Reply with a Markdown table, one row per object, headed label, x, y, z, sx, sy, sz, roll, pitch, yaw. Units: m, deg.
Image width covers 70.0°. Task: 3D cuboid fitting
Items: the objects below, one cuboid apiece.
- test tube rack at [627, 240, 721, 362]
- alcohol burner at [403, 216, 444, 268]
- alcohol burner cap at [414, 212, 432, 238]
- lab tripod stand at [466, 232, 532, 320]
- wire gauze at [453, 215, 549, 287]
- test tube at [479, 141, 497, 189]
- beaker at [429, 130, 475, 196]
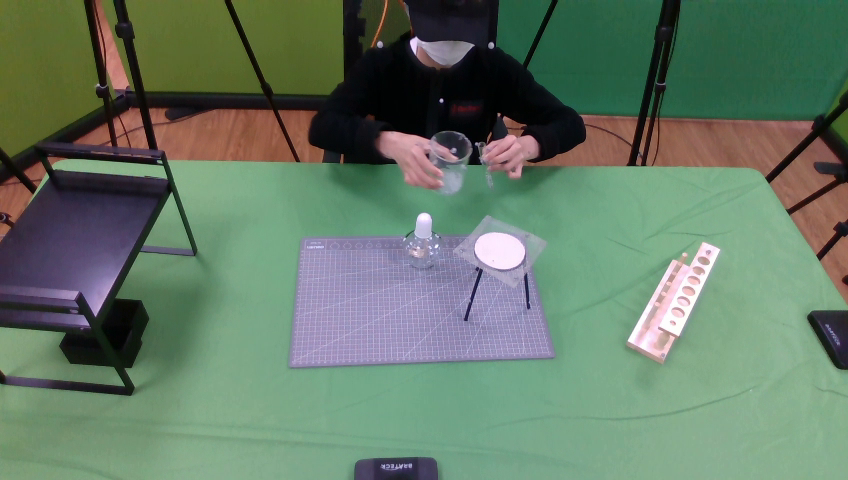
| label | x | y | z | sx | sy | sz | roll | pitch | yaw |
| --- | --- | --- | --- | --- | --- | --- | --- | --- | --- |
| test tube rack | 0.452 | 0.098 | 1.087 | 0.066 | 0.085 | 0.242 | 28 | 51 | 22 |
| alcohol burner | -0.001 | -0.004 | 1.132 | 0.078 | 0.120 | 0.077 | 1 | 47 | 0 |
| alcohol burner cap | 0.000 | -0.030 | 1.107 | 0.034 | 0.048 | 0.033 | 4 | 41 | -3 |
| lab tripod stand | 0.125 | 0.059 | 1.065 | 0.148 | 0.132 | 0.147 | 1 | 45 | 0 |
| wire gauze | 0.129 | 0.012 | 1.017 | 0.124 | 0.011 | 0.121 | 28 | 50 | 23 |
| test tube | 0.130 | -0.148 | 1.218 | 0.017 | 0.151 | 0.017 | -7 | 60 | 12 |
| beaker | 0.050 | -0.136 | 1.087 | 0.074 | 0.101 | 0.084 | 29 | 56 | 14 |
